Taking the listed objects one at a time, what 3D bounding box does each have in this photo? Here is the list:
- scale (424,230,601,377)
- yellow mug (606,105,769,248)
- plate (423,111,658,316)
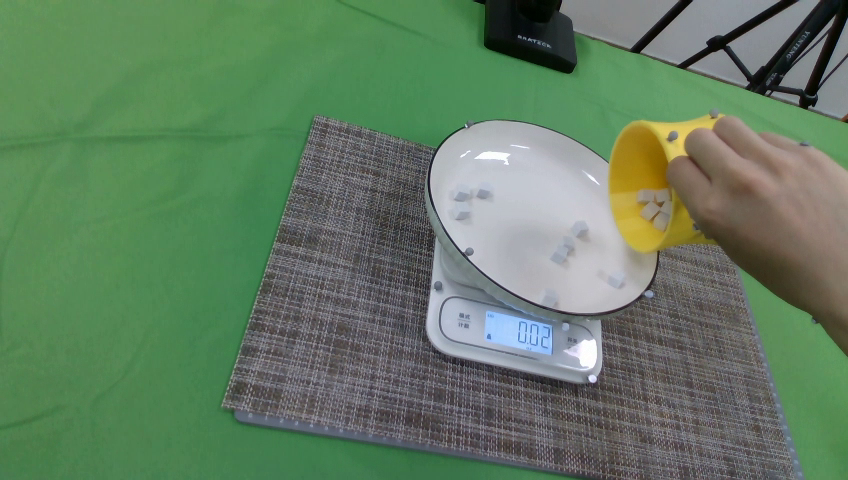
[{"bbox_3d":[0.080,0.013,0.523,0.149,0.032,0.199,14,51,-10],"label":"scale"},{"bbox_3d":[0.192,-0.048,0.442,0.064,0.130,0.100,-9,92,-9],"label":"yellow mug"},{"bbox_3d":[0.096,-0.024,0.514,0.210,0.038,0.207,11,52,-13],"label":"plate"}]
